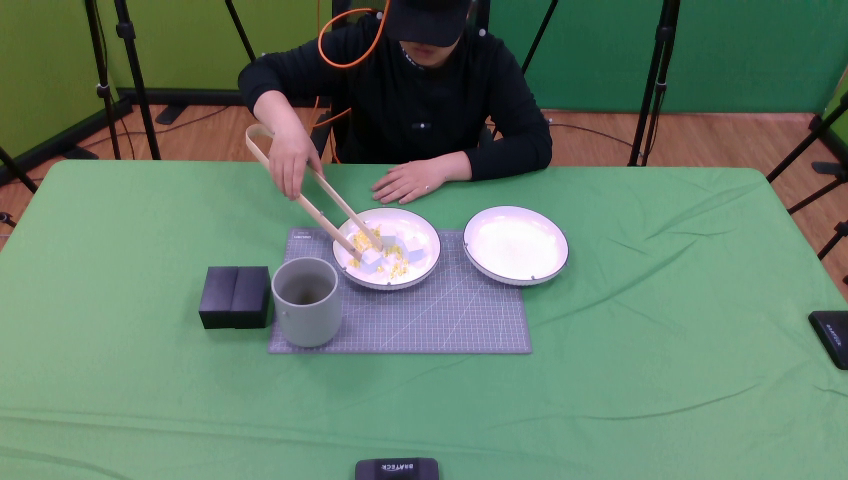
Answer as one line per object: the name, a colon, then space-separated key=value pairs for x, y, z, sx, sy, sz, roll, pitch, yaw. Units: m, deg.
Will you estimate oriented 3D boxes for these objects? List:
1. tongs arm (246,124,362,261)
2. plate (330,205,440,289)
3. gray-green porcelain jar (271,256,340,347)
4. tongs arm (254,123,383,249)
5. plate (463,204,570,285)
tongs arm: x=-0.234 y=-0.099 z=1.176 sx=0.383 sy=0.026 sz=0.051 roll=42 pitch=54 yaw=19
plate: x=-0.074 y=0.017 z=1.160 sx=0.208 sy=0.039 sz=0.206 roll=2 pitch=46 yaw=-2
gray-green porcelain jar: x=-0.193 y=0.107 z=1.004 sx=0.106 sy=0.127 sz=0.105 roll=2 pitch=46 yaw=-2
tongs arm: x=-0.211 y=-0.113 z=1.193 sx=0.028 sy=0.028 sz=0.386 roll=-35 pitch=67 yaw=-30
plate: x=0.178 y=0.012 z=1.184 sx=0.209 sy=0.038 sz=0.208 roll=3 pitch=46 yaw=-3
